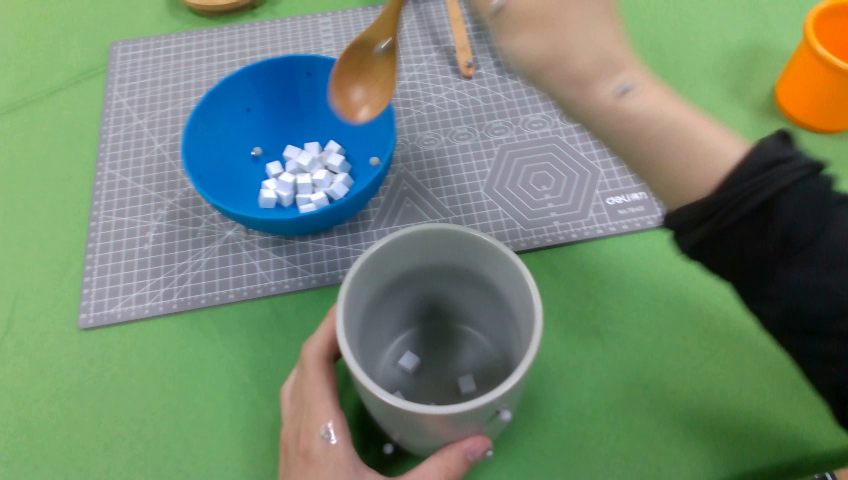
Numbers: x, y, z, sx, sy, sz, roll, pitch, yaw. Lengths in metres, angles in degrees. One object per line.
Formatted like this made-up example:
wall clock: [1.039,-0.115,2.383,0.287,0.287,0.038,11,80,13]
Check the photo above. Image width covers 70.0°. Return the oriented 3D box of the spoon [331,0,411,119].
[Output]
spoon: [-0.003,-0.137,0.311,0.041,0.194,0.021,44,46,5]

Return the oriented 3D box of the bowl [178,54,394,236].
bowl: [-0.094,-0.058,0.455,0.151,0.077,0.150,-1,60,1]

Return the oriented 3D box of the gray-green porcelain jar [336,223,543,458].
gray-green porcelain jar: [0.010,0.067,0.357,0.106,0.127,0.105,-1,59,2]

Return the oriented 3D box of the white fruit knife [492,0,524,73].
white fruit knife: [0.063,-0.252,0.564,0.016,0.027,0.206,-10,74,-6]

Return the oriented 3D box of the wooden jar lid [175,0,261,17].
wooden jar lid: [-0.205,-0.265,0.615,0.108,0.021,0.107,0,60,0]

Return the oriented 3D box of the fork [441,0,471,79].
fork: [0.014,-0.246,0.560,0.028,0.018,0.206,-12,79,-11]
